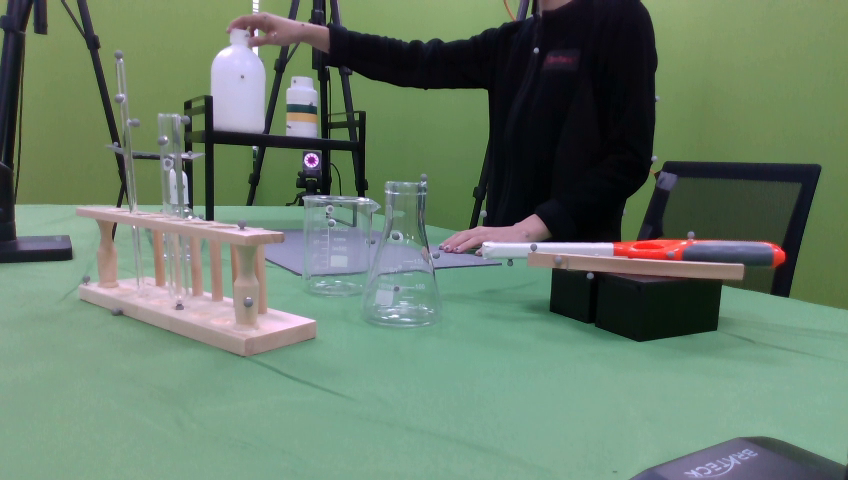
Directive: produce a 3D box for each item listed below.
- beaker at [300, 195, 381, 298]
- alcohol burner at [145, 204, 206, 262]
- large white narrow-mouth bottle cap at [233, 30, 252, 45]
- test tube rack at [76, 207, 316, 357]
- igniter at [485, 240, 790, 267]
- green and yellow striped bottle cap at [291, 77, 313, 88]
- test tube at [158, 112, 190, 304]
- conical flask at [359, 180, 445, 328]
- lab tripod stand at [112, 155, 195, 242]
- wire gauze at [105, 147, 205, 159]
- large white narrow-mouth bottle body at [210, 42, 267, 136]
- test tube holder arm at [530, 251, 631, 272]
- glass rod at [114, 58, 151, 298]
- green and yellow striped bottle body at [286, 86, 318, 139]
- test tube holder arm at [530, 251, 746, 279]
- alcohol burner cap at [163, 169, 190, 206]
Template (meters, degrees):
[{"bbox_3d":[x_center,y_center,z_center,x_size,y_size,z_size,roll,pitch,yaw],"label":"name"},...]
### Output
[{"bbox_3d":[-0.087,0.006,0.626,0.084,0.100,0.074,1,8,-17],"label":"beaker"},{"bbox_3d":[-0.321,-0.032,0.788,0.078,0.119,0.078,0,7,0],"label":"alcohol burner"},{"bbox_3d":[-0.350,-0.390,1.167,0.038,0.024,0.037,5,6,0],"label":"large white narrow-mouth bottle cap"},{"bbox_3d":[-0.196,0.023,0.500,0.241,0.085,0.067,8,9,36],"label":"test tube rack"},{"bbox_3d":[0.197,0.012,0.585,0.276,0.025,0.057,1,5,12],"label":"igniter"},{"bbox_3d":[-0.249,-0.321,1.238,0.045,0.020,0.045,3,5,0],"label":"green and yellow striped bottle cap"},{"bbox_3d":[-0.194,-0.022,0.469,0.017,0.150,0.017,2,12,0],"label":"test tube"},{"bbox_3d":[-0.017,0.010,0.522,0.075,0.122,0.075,2,7,0],"label":"conical flask"},{"bbox_3d":[-0.405,-0.064,0.931,0.148,0.131,0.148,1,6,0],"label":"lab tripod stand"},{"bbox_3d":[-0.407,-0.131,0.929,0.125,0.011,0.121,2,6,-11],"label":"wire gauze"},{"bbox_3d":[-0.359,-0.304,1.176,0.102,0.194,0.102,5,6,0],"label":"large white narrow-mouth bottle body"},{"bbox_3d":[0.139,0.019,0.538,0.087,0.015,0.010,3,6,13],"label":"test tube holder arm"},{"bbox_3d":[-0.236,-0.044,0.492,0.008,0.199,0.008,0,15,0],"label":"glass rod"},{"bbox_3d":[-0.251,-0.270,1.245,0.063,0.119,0.063,2,7,0],"label":"green and yellow striped bottle body"},{"bbox_3d":[0.182,0.022,0.523,0.178,0.015,0.013,3,6,12],"label":"test tube holder arm"},{"bbox_3d":[-0.320,-0.068,0.782,0.034,0.048,0.034,1,7,0],"label":"alcohol burner cap"}]
